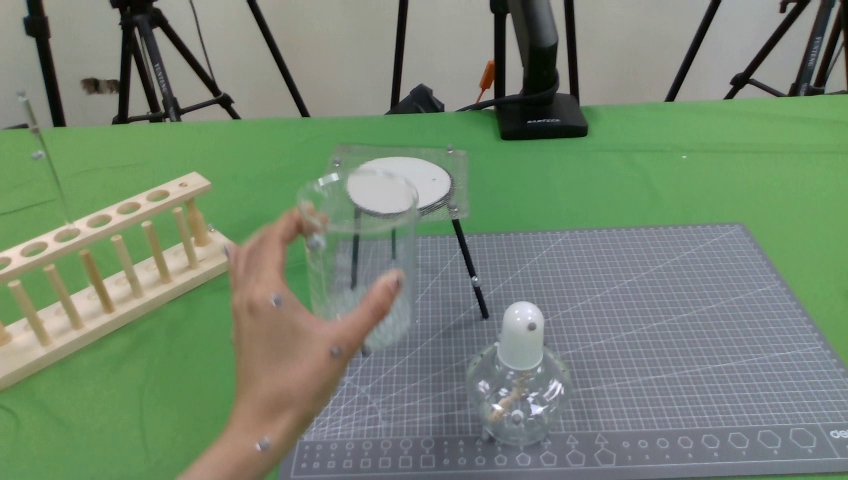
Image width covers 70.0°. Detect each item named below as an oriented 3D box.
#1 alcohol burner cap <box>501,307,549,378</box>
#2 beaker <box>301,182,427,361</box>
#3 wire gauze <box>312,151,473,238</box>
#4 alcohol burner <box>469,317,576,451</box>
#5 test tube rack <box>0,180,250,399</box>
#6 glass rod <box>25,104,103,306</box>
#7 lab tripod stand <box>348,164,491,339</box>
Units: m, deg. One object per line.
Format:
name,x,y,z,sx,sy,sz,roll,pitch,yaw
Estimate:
alcohol burner cap,0.070,0.067,0.411,0.034,0.048,0.033,0,37,0
beaker,-0.040,0.021,0.397,0.074,0.101,0.083,-28,42,-37
wire gauze,-0.022,-0.042,0.497,0.121,0.011,0.124,0,37,3
alcohol burner,0.071,0.095,0.433,0.078,0.120,0.077,-2,39,2
test tube rack,-0.296,0.036,0.573,0.242,0.086,0.066,-32,44,-33
glass rod,-0.321,-0.023,0.544,0.008,0.201,0.008,-1,29,1
lab tripod stand,-0.010,0.010,0.539,0.148,0.132,0.147,-1,35,1
